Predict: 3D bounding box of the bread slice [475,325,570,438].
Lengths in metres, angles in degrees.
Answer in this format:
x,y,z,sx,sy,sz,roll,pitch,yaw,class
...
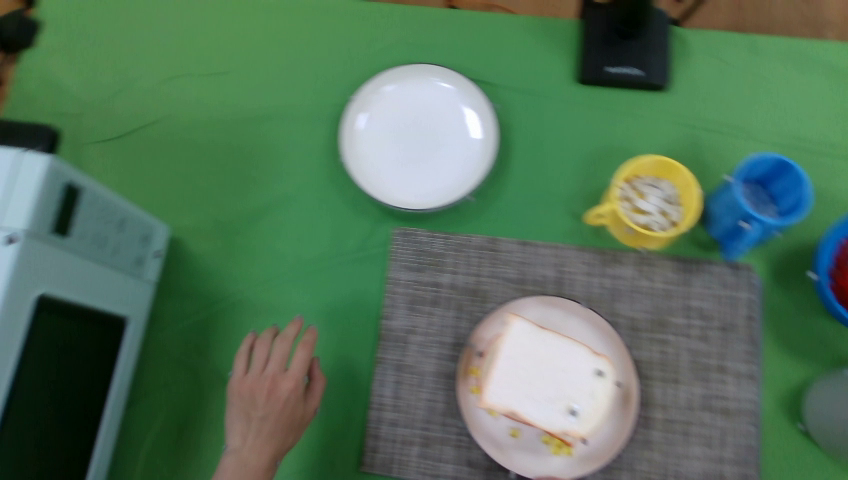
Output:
x,y,z,sx,sy,sz,roll,pitch,yaw,class
0.126,0.159,0.710,0.131,0.019,0.104,20,78,7,bread slice

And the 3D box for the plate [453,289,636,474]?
x,y,z,sx,sy,sz,roll,pitch,yaw,class
0.138,0.162,0.707,0.209,0.038,0.208,-1,76,4,plate

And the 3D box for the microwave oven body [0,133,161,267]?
x,y,z,sx,sy,sz,roll,pitch,yaw,class
-0.529,0.121,0.649,0.325,0.261,0.439,9,77,6,microwave oven body

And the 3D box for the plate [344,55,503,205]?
x,y,z,sx,sy,sz,roll,pitch,yaw,class
-0.001,-0.142,0.798,0.207,0.039,0.206,-1,76,4,plate

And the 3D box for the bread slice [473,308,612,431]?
x,y,z,sx,sy,sz,roll,pitch,yaw,class
0.132,0.142,0.651,0.134,0.018,0.107,18,84,3,bread slice

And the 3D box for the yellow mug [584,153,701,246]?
x,y,z,sx,sy,sz,roll,pitch,yaw,class
0.262,-0.045,0.740,0.131,0.064,0.099,-14,74,2,yellow mug

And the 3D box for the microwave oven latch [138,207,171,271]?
x,y,z,sx,sy,sz,roll,pitch,yaw,class
-0.346,-0.002,0.767,0.030,0.029,0.079,11,77,7,microwave oven latch

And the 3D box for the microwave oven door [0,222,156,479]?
x,y,z,sx,sy,sz,roll,pitch,yaw,class
-0.394,0.181,0.618,0.039,0.245,0.354,8,76,7,microwave oven door

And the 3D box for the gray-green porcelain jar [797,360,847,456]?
x,y,z,sx,sy,sz,roll,pitch,yaw,class
0.471,0.178,0.638,0.106,0.127,0.105,-1,75,4,gray-green porcelain jar

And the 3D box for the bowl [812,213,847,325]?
x,y,z,sx,sy,sz,roll,pitch,yaw,class
0.512,0.043,0.694,0.151,0.077,0.150,-1,76,4,bowl

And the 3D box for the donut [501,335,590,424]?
x,y,z,sx,sy,sz,roll,pitch,yaw,class
0.135,0.156,0.679,0.099,0.048,0.098,-1,74,4,donut

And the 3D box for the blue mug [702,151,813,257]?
x,y,z,sx,sy,sz,roll,pitch,yaw,class
0.379,-0.032,0.709,0.082,0.106,0.116,28,79,11,blue mug
